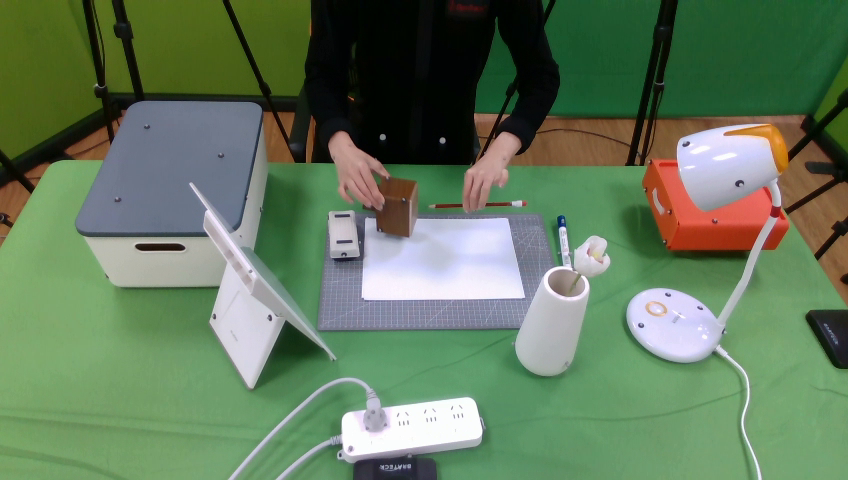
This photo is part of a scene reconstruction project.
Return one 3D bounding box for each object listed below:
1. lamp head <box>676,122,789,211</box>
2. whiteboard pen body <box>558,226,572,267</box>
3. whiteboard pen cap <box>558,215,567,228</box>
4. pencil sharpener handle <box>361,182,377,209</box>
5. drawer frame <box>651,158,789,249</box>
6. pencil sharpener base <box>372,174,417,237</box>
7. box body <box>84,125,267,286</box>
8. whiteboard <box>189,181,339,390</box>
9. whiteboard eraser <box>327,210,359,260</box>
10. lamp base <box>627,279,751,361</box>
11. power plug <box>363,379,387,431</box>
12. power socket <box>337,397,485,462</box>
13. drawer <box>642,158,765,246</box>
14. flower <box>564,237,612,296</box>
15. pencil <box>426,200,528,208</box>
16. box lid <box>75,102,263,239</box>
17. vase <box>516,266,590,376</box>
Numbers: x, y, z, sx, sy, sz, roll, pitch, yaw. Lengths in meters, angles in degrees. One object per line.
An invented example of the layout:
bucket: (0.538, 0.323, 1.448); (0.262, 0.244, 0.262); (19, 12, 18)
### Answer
lamp head: (0.423, -0.104, 0.819); (0.122, 0.113, 0.112); (-13, 33, 40)
whiteboard pen body: (0.280, 0.010, 1.208); (0.017, 0.017, 0.140); (3, 50, -1)
whiteboard pen cap: (0.284, -0.035, 1.245); (0.018, 0.018, 0.033); (4, 52, -1)
pencil sharpener handle: (-0.106, -0.084, 1.152); (0.030, 0.068, 0.036); (11, 55, 8)
drawer frame: (0.571, -0.075, 1.214); (0.214, 0.083, 0.200); (0, 45, -1)
pencil sharpener base: (-0.057, -0.066, 1.154); (0.076, 0.107, 0.061); (10, 50, 7)
box body: (-0.446, -0.088, 1.150); (0.254, 0.161, 0.361); (-1, 46, -5)
whiteboard: (-0.292, 0.096, 0.929); (0.144, 0.307, 0.216); (-37, 57, -10)
whiteboard eraser: (-0.159, -0.009, 1.177); (0.055, 0.042, 0.112); (-5, 47, -7)
lamp base: (0.459, 0.100, 1.027); (0.178, 0.181, 0.160); (27, 51, 17)
power plug: (-0.072, 0.252, 0.910); (0.035, 0.053, 0.072); (3, 45, -1)
power socket: (-0.018, 0.285, 0.915); (0.227, 0.033, 0.071); (-5, 46, -8)
drawer: (0.566, -0.076, 1.211); (0.212, 0.073, 0.193); (2, 45, -2)
flower: (0.206, 0.088, 0.893); (0.038, 0.363, 0.044); (-17, 67, -9)
pencil: (0.099, -0.067, 1.143); (0.194, 0.012, 0.012); (-3, 47, -4)
box lid: (-0.443, -0.138, 1.094); (0.263, 0.015, 0.369); (-1, 47, -5)
vase: (0.208, 0.132, 0.964); (0.098, 0.201, 0.097); (3, 46, -3)
